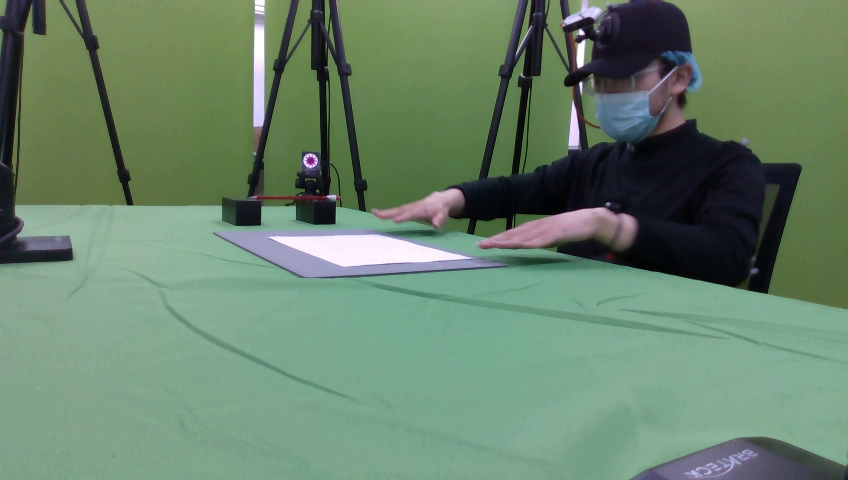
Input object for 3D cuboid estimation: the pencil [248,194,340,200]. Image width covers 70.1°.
[{"bbox_3d":[-0.275,-0.091,1.291,0.195,0.012,0.012,-2,9,-21],"label":"pencil"}]
